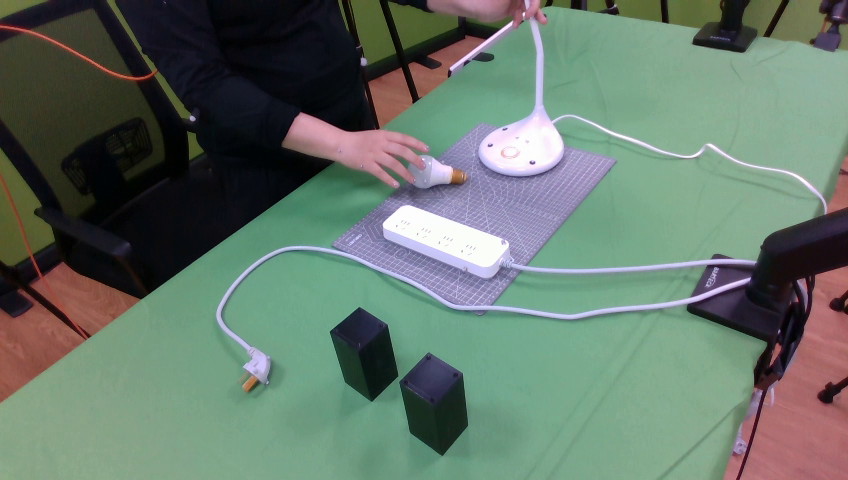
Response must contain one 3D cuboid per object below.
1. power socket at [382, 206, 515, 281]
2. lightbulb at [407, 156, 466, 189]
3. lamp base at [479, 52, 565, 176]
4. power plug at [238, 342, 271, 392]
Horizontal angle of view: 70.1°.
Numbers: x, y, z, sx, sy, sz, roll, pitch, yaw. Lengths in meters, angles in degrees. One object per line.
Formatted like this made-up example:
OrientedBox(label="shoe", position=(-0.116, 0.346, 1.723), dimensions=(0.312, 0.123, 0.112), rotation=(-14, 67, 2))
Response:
OrientedBox(label="power socket", position=(0.032, 0.002, 0.950), dimensions=(0.225, 0.033, 0.072), rotation=(21, 49, 29))
OrientedBox(label="lightbulb", position=(0.023, -0.117, 1.081), dimensions=(0.108, 0.059, 0.059), rotation=(7, 40, -7))
OrientedBox(label="lamp base", position=(0.181, -0.235, 1.093), dimensions=(0.159, 0.181, 0.179), rotation=(18, 44, 27))
OrientedBox(label="power plug", position=(-0.230, 0.172, 0.801), dimensions=(0.072, 0.035, 0.053), rotation=(10, 51, 50))
